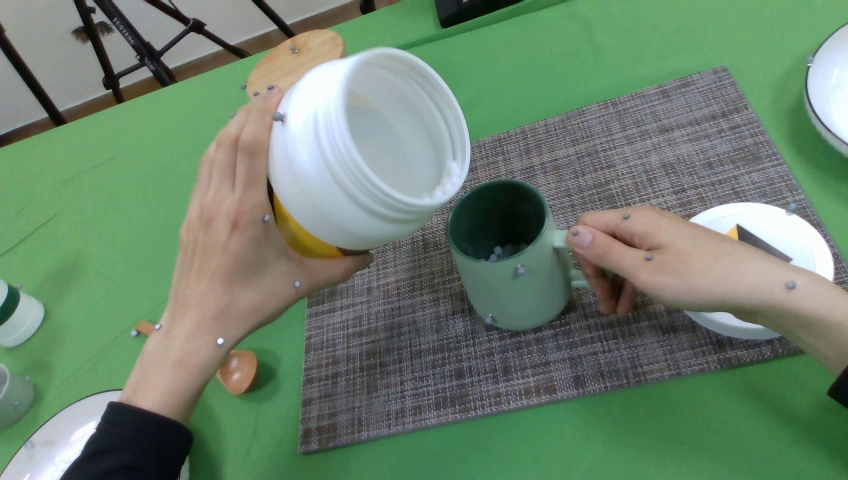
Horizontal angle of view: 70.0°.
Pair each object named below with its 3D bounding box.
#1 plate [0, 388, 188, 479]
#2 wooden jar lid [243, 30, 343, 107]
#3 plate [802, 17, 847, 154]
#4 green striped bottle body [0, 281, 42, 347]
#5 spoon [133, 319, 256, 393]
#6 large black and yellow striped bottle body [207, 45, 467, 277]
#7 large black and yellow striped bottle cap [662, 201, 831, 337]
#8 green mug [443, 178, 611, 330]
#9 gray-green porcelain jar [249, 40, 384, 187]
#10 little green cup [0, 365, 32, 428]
[{"bbox_3d":[-0.291,0.232,0.522,0.209,0.038,0.207,-11,53,15],"label":"plate"},{"bbox_3d":[-0.127,-0.167,0.601,0.108,0.021,0.107,-13,51,17],"label":"wooden jar lid"},{"bbox_3d":[0.423,-0.122,0.488,0.207,0.039,0.205,-11,53,15],"label":"plate"},{"bbox_3d":[-0.496,0.067,0.670,0.063,0.120,0.062,-11,53,15],"label":"green striped bottle body"},{"bbox_3d":[-0.232,0.106,0.598,0.192,0.022,0.041,14,82,29],"label":"spoon"},{"bbox_3d":[-0.068,-0.052,0.453,0.183,0.132,0.130,-22,43,48],"label":"large black and yellow striped bottle body"},{"bbox_3d":[0.246,0.019,0.467,0.115,0.019,0.114,-12,52,16],"label":"large black and yellow striped bottle cap"},{"bbox_3d":[0.083,0.014,0.480,0.125,0.106,0.092,2,57,24],"label":"green mug"},{"bbox_3d":[-0.107,-0.128,0.647,0.105,0.128,0.105,-12,48,14],"label":"gray-green porcelain jar"},{"bbox_3d":[-0.448,0.165,0.633,0.061,0.039,0.061,-11,52,15],"label":"little green cup"}]
